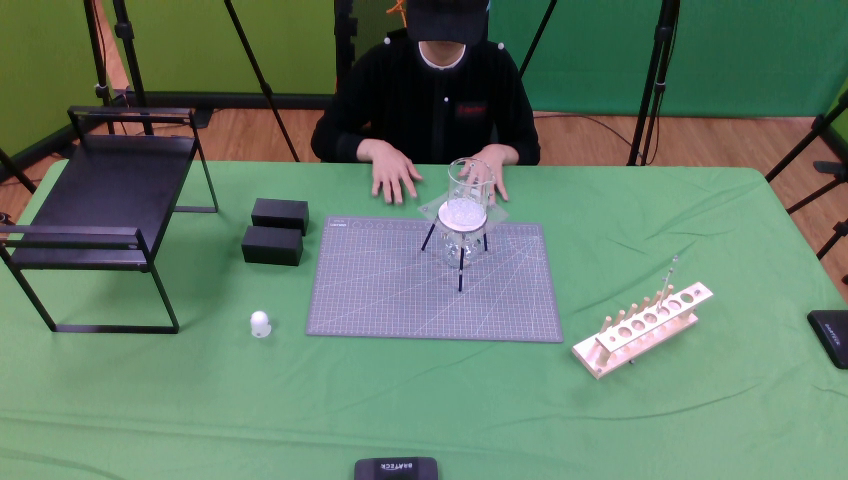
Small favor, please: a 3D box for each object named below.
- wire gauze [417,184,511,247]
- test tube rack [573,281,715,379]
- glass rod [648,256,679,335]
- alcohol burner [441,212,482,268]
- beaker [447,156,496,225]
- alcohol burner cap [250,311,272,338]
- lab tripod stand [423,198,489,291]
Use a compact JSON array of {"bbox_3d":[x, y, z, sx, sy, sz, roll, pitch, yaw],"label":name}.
[{"bbox_3d":[0.071,-0.049,1.074,0.121,0.011,0.124,-31,52,-30],"label":"wire gauze"},{"bbox_3d":[0.378,0.140,1.038,0.242,0.085,0.066,-22,51,-22],"label":"test tube rack"},{"bbox_3d":[0.390,0.095,0.990,0.008,0.201,0.008,-2,46,3],"label":"glass rod"},{"bbox_3d":[0.071,-0.005,1.136,0.078,0.120,0.077,1,44,-1],"label":"alcohol burner"},{"bbox_3d":[0.078,-0.081,1.037,0.084,0.101,0.073,15,48,12],"label":"beaker"},{"bbox_3d":[-0.278,0.141,1.026,0.034,0.048,0.033,1,46,-1],"label":"alcohol burner cap"},{"bbox_3d":[0.064,-0.002,1.119,0.148,0.132,0.147,1,47,0],"label":"lab tripod stand"}]
